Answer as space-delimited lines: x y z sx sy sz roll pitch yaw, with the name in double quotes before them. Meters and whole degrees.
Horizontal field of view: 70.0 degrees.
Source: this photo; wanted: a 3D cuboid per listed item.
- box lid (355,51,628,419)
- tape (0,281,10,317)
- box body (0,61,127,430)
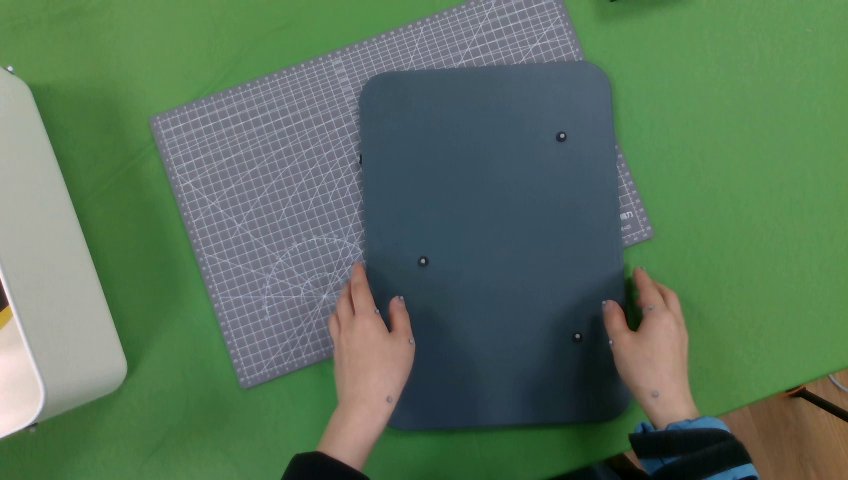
"box lid" 0.067 -0.010 0.619 0.263 0.015 0.371 -3 87 0
"tape" -0.471 0.039 0.596 0.117 0.053 0.116 0 88 0
"box body" -0.468 0.014 0.549 0.254 0.160 0.363 -22 87 -1
